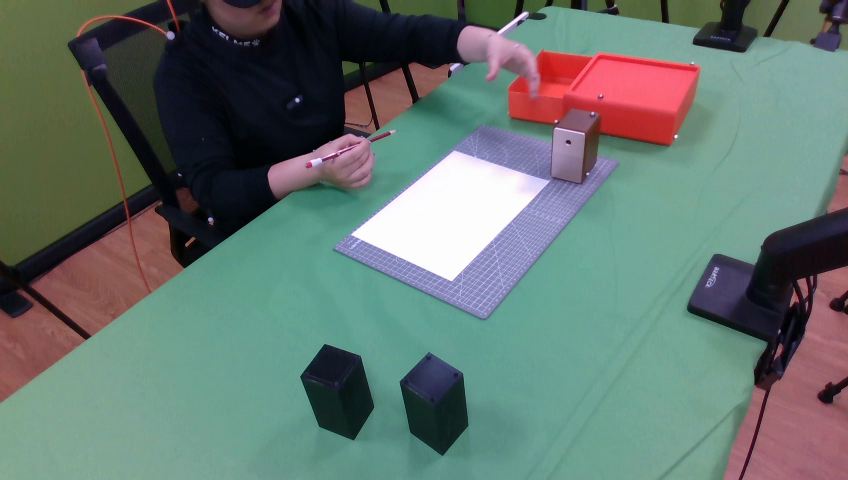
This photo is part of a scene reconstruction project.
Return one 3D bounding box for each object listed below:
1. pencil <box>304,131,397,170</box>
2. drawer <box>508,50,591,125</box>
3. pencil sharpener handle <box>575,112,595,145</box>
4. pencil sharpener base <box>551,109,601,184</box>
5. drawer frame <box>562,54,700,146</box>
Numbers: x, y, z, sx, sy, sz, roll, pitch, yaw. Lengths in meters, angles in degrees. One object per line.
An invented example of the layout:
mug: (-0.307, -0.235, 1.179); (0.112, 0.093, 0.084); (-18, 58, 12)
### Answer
pencil: (-0.124, -0.159, 1.053); (0.195, 0.012, 0.012); (-28, 44, -30)
drawer: (0.305, -0.309, 1.246); (0.210, 0.073, 0.195); (16, 45, 25)
pencil sharpener handle: (0.290, -0.203, 1.077); (0.036, 0.068, 0.031); (20, 47, 25)
pencil sharpener base: (0.265, -0.163, 1.053); (0.061, 0.107, 0.077); (17, 46, 27)
drawer frame: (0.407, -0.282, 1.195); (0.212, 0.083, 0.202); (17, 45, 25)
